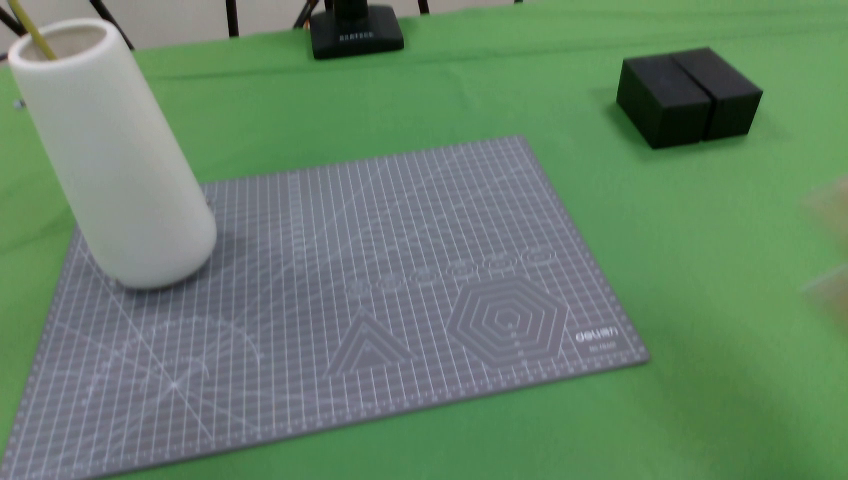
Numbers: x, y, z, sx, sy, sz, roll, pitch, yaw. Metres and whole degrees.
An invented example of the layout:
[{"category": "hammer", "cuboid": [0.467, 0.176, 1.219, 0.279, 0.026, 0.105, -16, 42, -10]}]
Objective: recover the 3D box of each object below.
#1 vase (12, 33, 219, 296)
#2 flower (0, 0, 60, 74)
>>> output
[{"category": "vase", "cuboid": [-0.229, -0.050, 0.466, 0.098, 0.202, 0.097, -1, 42, 2]}, {"category": "flower", "cuboid": [-0.250, -0.114, 0.415, 0.044, 0.365, 0.038, -38, 37, -23]}]
